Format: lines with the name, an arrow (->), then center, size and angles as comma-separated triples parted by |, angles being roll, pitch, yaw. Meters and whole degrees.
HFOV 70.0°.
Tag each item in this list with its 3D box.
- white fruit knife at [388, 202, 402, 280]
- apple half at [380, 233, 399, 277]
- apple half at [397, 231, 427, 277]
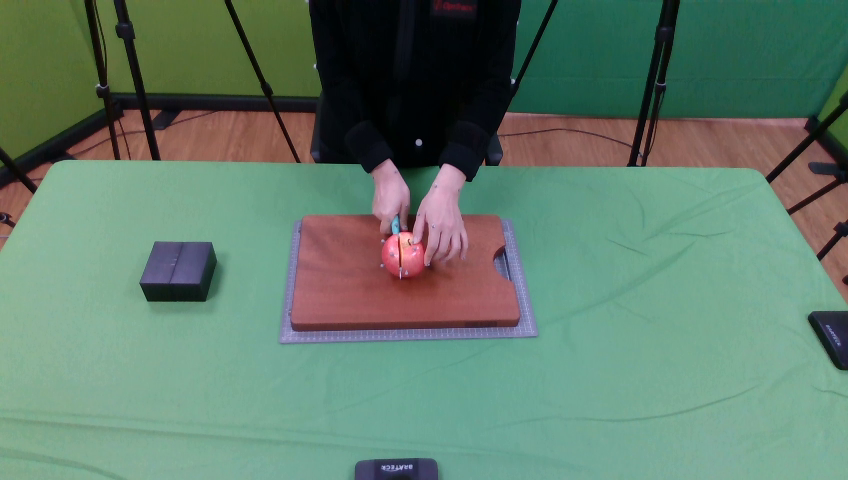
white fruit knife -> -0.052, -0.003, 1.126 | 0.016, 0.027, 0.206 | -6, 44, -5
apple half -> -0.062, 0.030, 1.090 | 0.033, 0.081, 0.081 | -4, 47, -6
apple half -> -0.022, 0.026, 1.096 | 0.053, 0.075, 0.080 | -1, 44, -11
